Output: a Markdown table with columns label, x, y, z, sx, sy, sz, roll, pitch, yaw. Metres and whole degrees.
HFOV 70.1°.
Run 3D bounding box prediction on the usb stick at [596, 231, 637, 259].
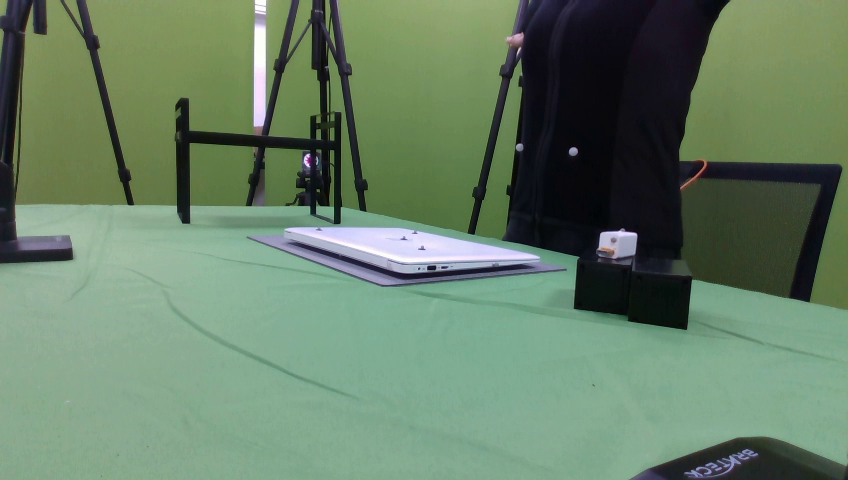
| label | x | y | z | sx | sy | sz | roll | pitch | yaw |
| --- | --- | --- | --- | --- | --- | --- | --- | --- | --- |
| usb stick | 0.197 | 0.005 | 0.625 | 0.021 | 0.027 | 0.059 | 10 | 13 | 42 |

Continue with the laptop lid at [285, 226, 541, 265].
| label | x | y | z | sx | sy | sz | roll | pitch | yaw |
| --- | --- | --- | --- | --- | --- | --- | --- | --- | --- |
| laptop lid | -0.031 | 0.002 | 0.896 | 0.243 | 0.013 | 0.355 | 0 | 8 | -35 |

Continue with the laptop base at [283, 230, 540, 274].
| label | x | y | z | sx | sy | sz | roll | pitch | yaw |
| --- | --- | --- | --- | --- | --- | --- | --- | --- | --- |
| laptop base | -0.033 | 0.014 | 0.896 | 0.237 | 0.023 | 0.352 | 1 | 7 | -37 |
